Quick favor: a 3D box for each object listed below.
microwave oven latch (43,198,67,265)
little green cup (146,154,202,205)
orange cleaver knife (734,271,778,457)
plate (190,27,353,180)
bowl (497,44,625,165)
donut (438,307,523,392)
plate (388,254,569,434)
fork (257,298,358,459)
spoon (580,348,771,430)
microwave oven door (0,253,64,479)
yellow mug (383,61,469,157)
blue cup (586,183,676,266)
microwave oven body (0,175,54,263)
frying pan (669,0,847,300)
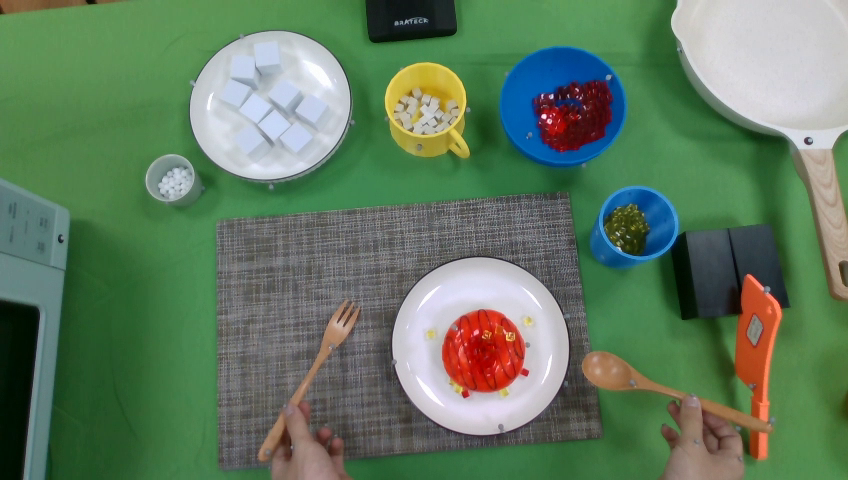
[{"bbox_3d":[-0.458,-0.010,0.738,0.030,0.029,0.079,1,79,1],"label":"microwave oven latch"},{"bbox_3d":[-0.314,-0.074,0.766,0.061,0.039,0.061,0,78,0],"label":"little green cup"},{"bbox_3d":[0.370,0.141,0.684,0.012,0.077,0.212,-5,107,1],"label":"orange cleaver knife"},{"bbox_3d":[-0.194,-0.174,0.786,0.207,0.039,0.206,0,78,1],"label":"plate"},{"bbox_3d":[0.163,-0.155,0.754,0.151,0.077,0.150,0,79,2],"label":"bowl"},{"bbox_3d":[0.065,0.126,0.701,0.099,0.048,0.098,0,81,2],"label":"donut"},{"bbox_3d":[0.063,0.120,0.714,0.209,0.038,0.208,0,79,2],"label":"plate"},{"bbox_3d":[-0.131,0.152,0.691,0.028,0.018,0.206,34,55,-8],"label":"fork"},{"bbox_3d":[0.258,0.159,0.638,0.192,0.022,0.041,16,64,35],"label":"spoon"},{"bbox_3d":[-0.457,0.182,0.594,0.039,0.245,0.354,-2,78,1],"label":"microwave oven door"},{"bbox_3d":[0.012,-0.154,0.763,0.100,0.064,0.130,-41,81,-7],"label":"yellow mug"},{"bbox_3d":[0.233,-0.010,0.709,0.092,0.100,0.092,0,76,0],"label":"blue cup"},{"bbox_3d":[-0.604,0.146,0.610,0.326,0.261,0.439,-2,79,1],"label":"microwave oven body"},{"bbox_3d":[0.454,-0.165,0.735,0.307,0.103,0.484,0,70,3],"label":"frying pan"}]
